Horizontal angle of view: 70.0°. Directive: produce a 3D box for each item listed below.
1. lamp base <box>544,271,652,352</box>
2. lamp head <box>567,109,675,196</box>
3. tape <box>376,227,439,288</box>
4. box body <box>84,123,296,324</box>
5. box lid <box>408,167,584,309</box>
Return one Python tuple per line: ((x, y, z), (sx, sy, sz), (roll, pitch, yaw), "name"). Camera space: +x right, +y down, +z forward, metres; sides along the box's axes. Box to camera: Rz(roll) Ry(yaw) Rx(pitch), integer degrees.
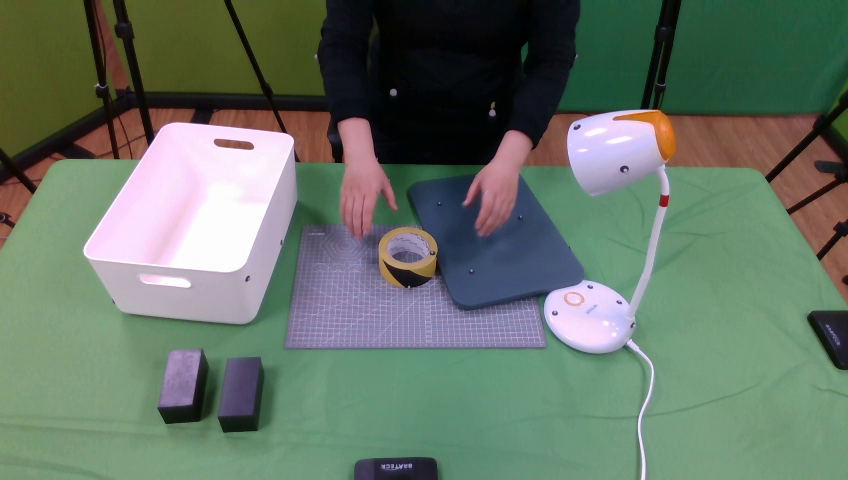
((0.310, 0.086, 1.029), (0.178, 0.181, 0.160), (32, 52, 21), "lamp base")
((0.272, -0.123, 0.818), (0.122, 0.113, 0.112), (-9, 35, 37), "lamp head")
((-0.032, 0.032, 1.140), (0.117, 0.053, 0.116), (2, 46, -1), "tape")
((-0.393, -0.035, 1.104), (0.254, 0.161, 0.362), (5, 46, 1), "box body")
((0.133, -0.018, 1.223), (0.263, 0.015, 0.369), (-11, 45, -12), "box lid")
